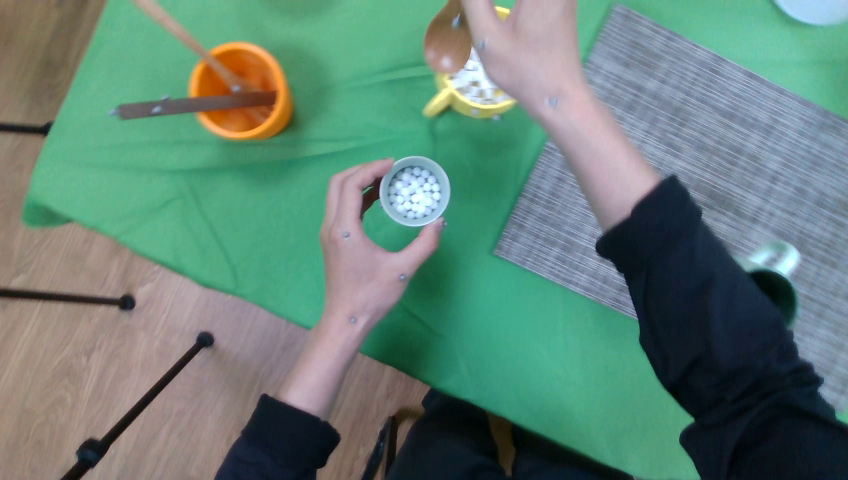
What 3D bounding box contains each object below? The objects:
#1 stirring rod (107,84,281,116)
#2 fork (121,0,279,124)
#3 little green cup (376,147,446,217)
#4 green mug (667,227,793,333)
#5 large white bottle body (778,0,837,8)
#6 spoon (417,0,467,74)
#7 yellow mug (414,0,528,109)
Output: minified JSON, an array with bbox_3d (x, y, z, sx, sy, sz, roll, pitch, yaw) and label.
[{"bbox_3d":[-0.215,-0.137,0.588,0.176,0.006,0.014,-20,97,-42],"label":"stirring rod"},{"bbox_3d":[-0.219,-0.179,0.579,0.028,0.018,0.209,-50,137,-1],"label":"fork"},{"bbox_3d":[-0.011,-0.050,0.541,0.061,0.038,0.061,0,92,-1],"label":"little green cup"},{"bbox_3d":[0.328,0.036,0.634,0.092,0.105,0.125,41,92,-3],"label":"green mug"},{"bbox_3d":[0.417,-0.312,0.572,0.131,0.184,0.130,0,94,-1],"label":"large white bottle body"},{"bbox_3d":[0.025,-0.185,0.424,0.041,0.194,0.021,26,67,2],"label":"spoon"},{"bbox_3d":[0.041,-0.181,0.630,0.131,0.064,0.100,-41,95,3],"label":"yellow mug"}]
